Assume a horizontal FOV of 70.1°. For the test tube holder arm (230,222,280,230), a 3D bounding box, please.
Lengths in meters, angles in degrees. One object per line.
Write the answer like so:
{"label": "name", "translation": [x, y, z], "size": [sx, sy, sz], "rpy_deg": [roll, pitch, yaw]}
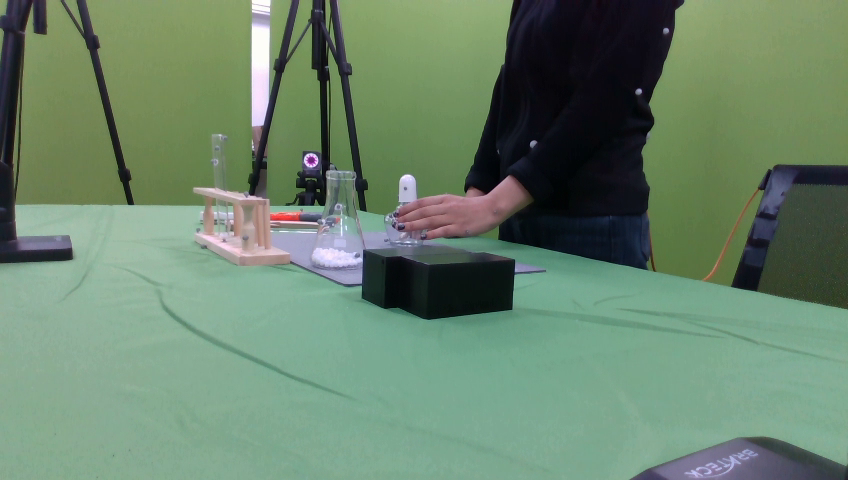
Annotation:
{"label": "test tube holder arm", "translation": [-0.312, -0.025, 1.118], "size": [0.088, 0.015, 0.010], "rpy_deg": [-1, 44, -30]}

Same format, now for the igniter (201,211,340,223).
{"label": "igniter", "translation": [-0.311, -0.048, 1.243], "size": [0.278, 0.025, 0.057], "rpy_deg": [-1, -2, -24]}

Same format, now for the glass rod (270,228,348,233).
{"label": "glass rod", "translation": [-0.234, -0.017, 1.105], "size": [0.201, 0.008, 0.008], "rpy_deg": [1, 7, -26]}

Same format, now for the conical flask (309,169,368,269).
{"label": "conical flask", "translation": [-0.107, -0.028, 0.762], "size": [0.075, 0.122, 0.075], "rpy_deg": [2, 7, 0]}

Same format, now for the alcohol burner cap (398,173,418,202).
{"label": "alcohol burner cap", "translation": [-0.027, -0.085, 0.988], "size": [0.034, 0.048, 0.034], "rpy_deg": [-2, 4, 0]}

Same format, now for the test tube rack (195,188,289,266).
{"label": "test tube rack", "translation": [-0.266, -0.025, 0.864], "size": [0.067, 0.085, 0.241], "rpy_deg": [-2, 8, -33]}

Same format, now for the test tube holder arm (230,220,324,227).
{"label": "test tube holder arm", "translation": [-0.275, -0.030, 1.145], "size": [0.179, 0.015, 0.013], "rpy_deg": [-2, 45, -31]}

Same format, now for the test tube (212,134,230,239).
{"label": "test tube", "translation": [-0.290, -0.076, 0.863], "size": [0.017, 0.150, 0.017], "rpy_deg": [-2, 6, 0]}

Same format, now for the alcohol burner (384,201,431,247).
{"label": "alcohol burner", "translation": [-0.026, -0.049, 0.992], "size": [0.078, 0.119, 0.078], "rpy_deg": [3, 9, 0]}
